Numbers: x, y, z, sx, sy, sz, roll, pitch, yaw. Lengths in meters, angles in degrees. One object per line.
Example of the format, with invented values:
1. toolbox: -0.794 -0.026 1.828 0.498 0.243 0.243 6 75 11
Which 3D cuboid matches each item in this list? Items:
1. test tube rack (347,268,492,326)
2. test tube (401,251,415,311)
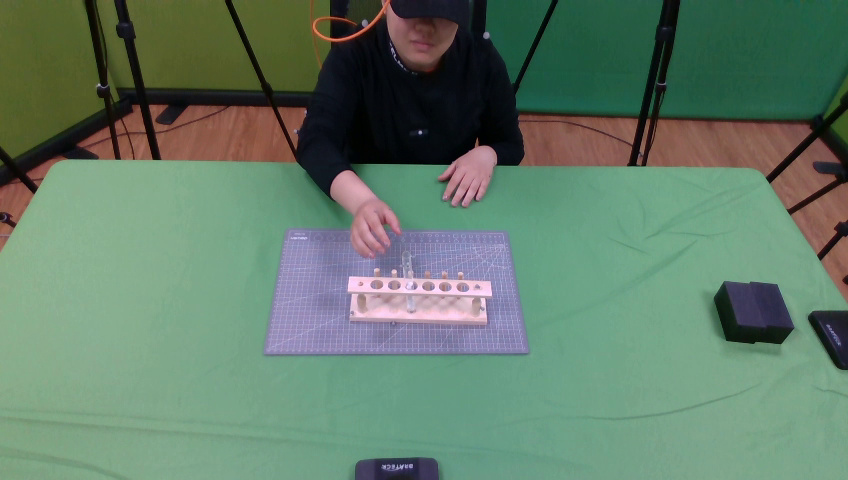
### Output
1. test tube rack: -0.009 0.095 1.059 0.242 0.085 0.066 2 46 -2
2. test tube: -0.026 0.072 1.011 0.017 0.151 0.017 -1 48 2
